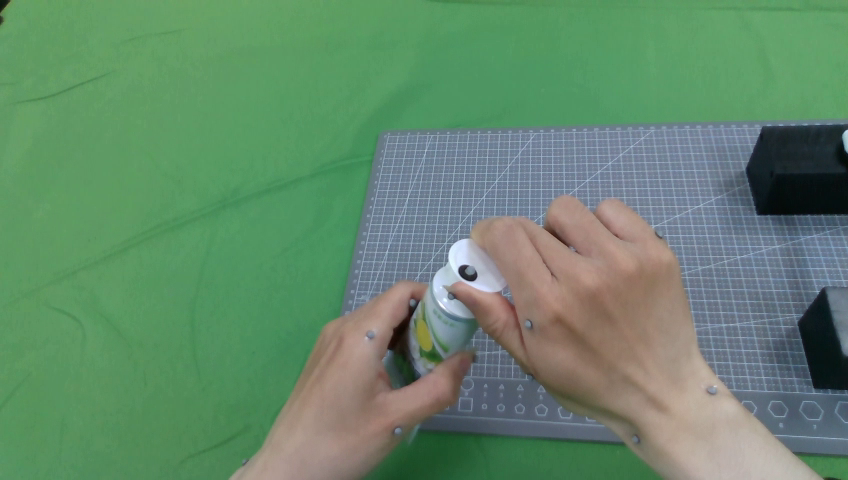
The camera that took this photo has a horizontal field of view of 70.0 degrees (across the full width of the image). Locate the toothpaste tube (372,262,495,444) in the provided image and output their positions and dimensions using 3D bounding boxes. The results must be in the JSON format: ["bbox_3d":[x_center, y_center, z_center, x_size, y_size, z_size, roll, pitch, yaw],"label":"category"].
[{"bbox_3d":[0.002,0.064,0.365,0.035,0.166,0.054,-8,52,-32],"label":"toothpaste tube"}]

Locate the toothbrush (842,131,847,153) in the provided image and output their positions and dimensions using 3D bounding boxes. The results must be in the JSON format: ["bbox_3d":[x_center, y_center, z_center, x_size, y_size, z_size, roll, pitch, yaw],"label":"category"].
[{"bbox_3d":[0.302,-0.011,0.405,0.014,0.017,0.180,15,59,1],"label":"toothbrush"}]

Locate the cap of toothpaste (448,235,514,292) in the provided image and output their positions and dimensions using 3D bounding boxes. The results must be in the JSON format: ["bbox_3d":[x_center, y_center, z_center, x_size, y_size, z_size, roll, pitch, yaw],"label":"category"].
[{"bbox_3d":[0.028,0.014,0.310,0.037,0.011,0.037,14,45,-14],"label":"cap of toothpaste"}]
